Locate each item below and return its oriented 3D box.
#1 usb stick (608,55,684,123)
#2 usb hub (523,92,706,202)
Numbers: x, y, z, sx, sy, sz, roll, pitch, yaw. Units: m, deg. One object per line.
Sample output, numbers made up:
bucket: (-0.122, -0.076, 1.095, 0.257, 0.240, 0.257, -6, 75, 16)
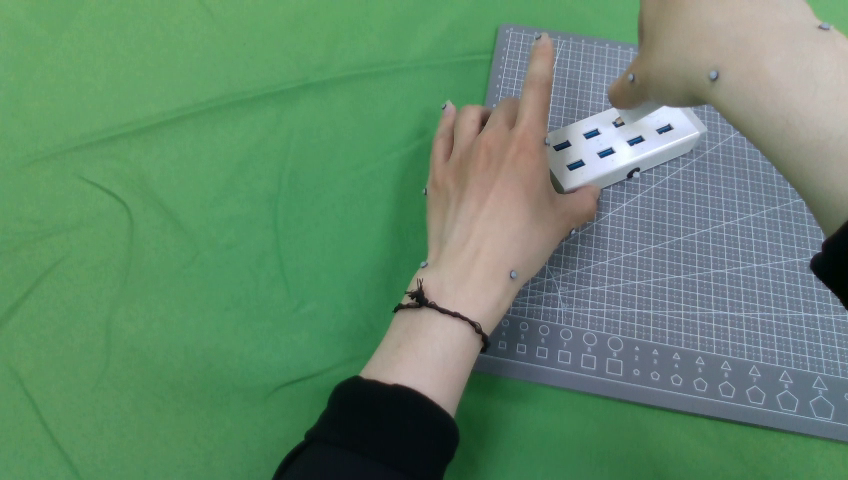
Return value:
usb stick: (0.143, -0.097, 0.405, 0.021, 0.059, 0.027, -36, 89, -14)
usb hub: (0.138, -0.073, 0.441, 0.125, 0.025, 0.049, -22, 66, -14)
